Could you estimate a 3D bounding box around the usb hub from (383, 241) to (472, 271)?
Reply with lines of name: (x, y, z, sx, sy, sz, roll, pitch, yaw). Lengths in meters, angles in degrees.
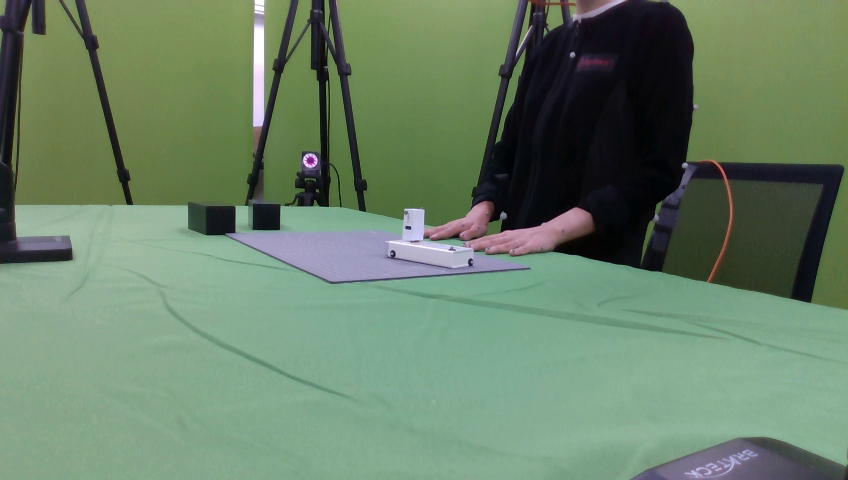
usb hub: (0.003, 0.020, 0.842, 0.124, 0.025, 0.050, 8, 9, 39)

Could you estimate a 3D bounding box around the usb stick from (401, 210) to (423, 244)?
usb stick: (-0.017, -0.012, 0.862, 0.021, 0.059, 0.027, 10, 12, 36)
